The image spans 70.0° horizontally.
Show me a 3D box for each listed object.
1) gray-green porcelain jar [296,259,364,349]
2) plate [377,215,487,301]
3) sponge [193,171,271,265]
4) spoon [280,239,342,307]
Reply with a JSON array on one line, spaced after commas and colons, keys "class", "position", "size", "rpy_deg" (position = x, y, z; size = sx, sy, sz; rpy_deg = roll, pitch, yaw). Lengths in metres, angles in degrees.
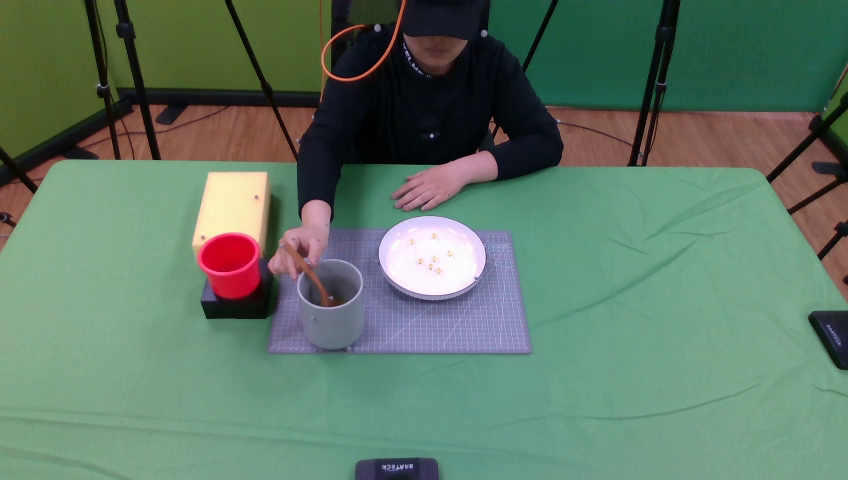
[{"class": "gray-green porcelain jar", "position": [-0.152, 0.111, 1.003], "size": [0.106, 0.127, 0.105], "rpy_deg": [2, 46, -2]}, {"class": "plate", "position": [0.015, 0.037, 1.147], "size": [0.208, 0.039, 0.206], "rpy_deg": [2, 46, -2]}, {"class": "sponge", "position": [-0.371, -0.046, 1.188], "size": [0.118, 0.061, 0.205], "rpy_deg": [-3, 46, -6]}, {"class": "spoon", "position": [-0.177, 0.069, 0.988], "size": [0.021, 0.195, 0.041], "rpy_deg": [-5, 40, 29]}]
